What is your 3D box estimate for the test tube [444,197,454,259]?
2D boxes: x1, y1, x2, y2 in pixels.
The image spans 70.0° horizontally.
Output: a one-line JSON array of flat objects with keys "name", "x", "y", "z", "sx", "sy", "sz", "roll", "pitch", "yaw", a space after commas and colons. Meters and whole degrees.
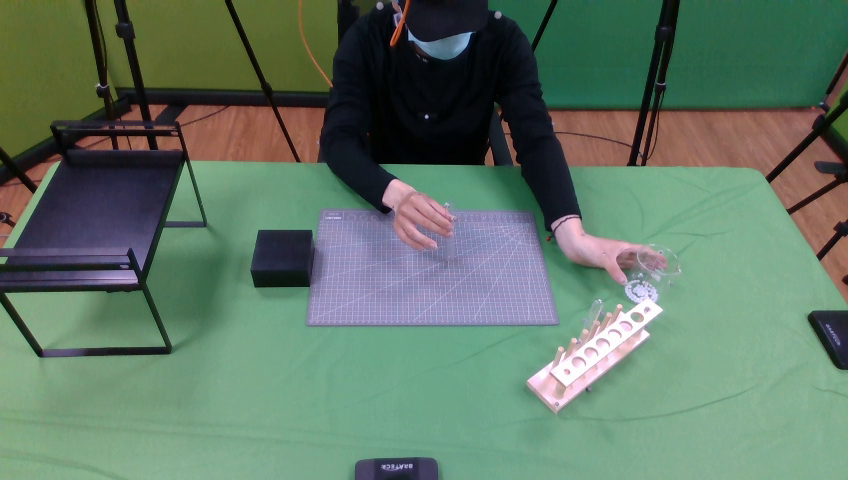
[{"name": "test tube", "x": 0.046, "y": -0.018, "z": 1.104, "sx": 0.017, "sy": 0.151, "sz": 0.017, "roll": -2, "pitch": 46, "yaw": 2}]

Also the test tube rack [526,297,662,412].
[{"name": "test tube rack", "x": 0.284, "y": 0.176, "z": 1.007, "sx": 0.242, "sy": 0.085, "sz": 0.066, "roll": -29, "pitch": 54, "yaw": -27}]

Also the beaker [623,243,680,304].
[{"name": "beaker", "x": 0.414, "y": 0.067, "z": 1.111, "sx": 0.083, "sy": 0.101, "sz": 0.074, "roll": 31, "pitch": 53, "yaw": 22}]

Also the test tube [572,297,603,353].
[{"name": "test tube", "x": 0.263, "y": 0.141, "z": 0.977, "sx": 0.017, "sy": 0.151, "sz": 0.017, "roll": 2, "pitch": 47, "yaw": -2}]
